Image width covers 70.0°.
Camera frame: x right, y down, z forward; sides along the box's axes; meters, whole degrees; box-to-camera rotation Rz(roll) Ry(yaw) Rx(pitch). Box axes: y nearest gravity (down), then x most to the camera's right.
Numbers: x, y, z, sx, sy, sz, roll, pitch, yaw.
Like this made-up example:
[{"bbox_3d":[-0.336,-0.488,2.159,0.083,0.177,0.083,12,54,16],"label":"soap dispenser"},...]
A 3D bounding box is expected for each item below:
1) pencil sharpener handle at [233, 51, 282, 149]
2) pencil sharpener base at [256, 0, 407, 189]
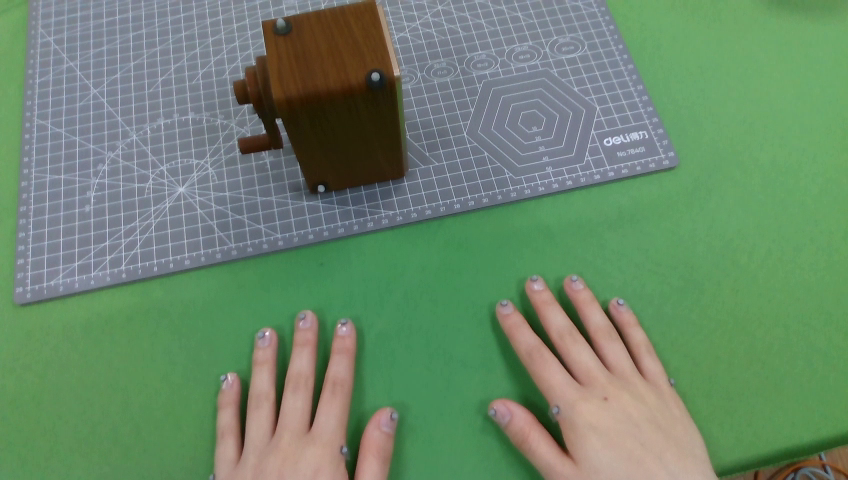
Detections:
[{"bbox_3d":[-0.104,-0.079,0.362,0.031,0.068,0.035,-12,60,-4],"label":"pencil sharpener handle"},{"bbox_3d":[-0.055,-0.086,0.379,0.077,0.108,0.061,-12,66,-5],"label":"pencil sharpener base"}]
